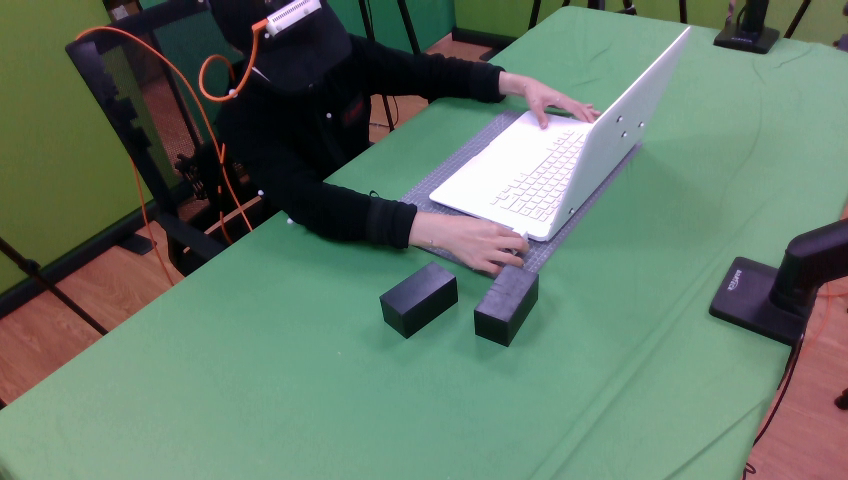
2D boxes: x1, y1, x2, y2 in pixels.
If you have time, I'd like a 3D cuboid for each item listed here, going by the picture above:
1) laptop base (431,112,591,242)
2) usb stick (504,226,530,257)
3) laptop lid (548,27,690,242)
[{"bbox_3d":[0.207,-0.129,1.101,0.233,0.023,0.355,20,47,33],"label":"laptop base"},{"bbox_3d":[0.149,-0.001,0.938,0.021,0.027,0.059,24,45,30],"label":"usb stick"},{"bbox_3d":[0.310,-0.168,0.950,0.013,0.242,0.358,33,52,20],"label":"laptop lid"}]
